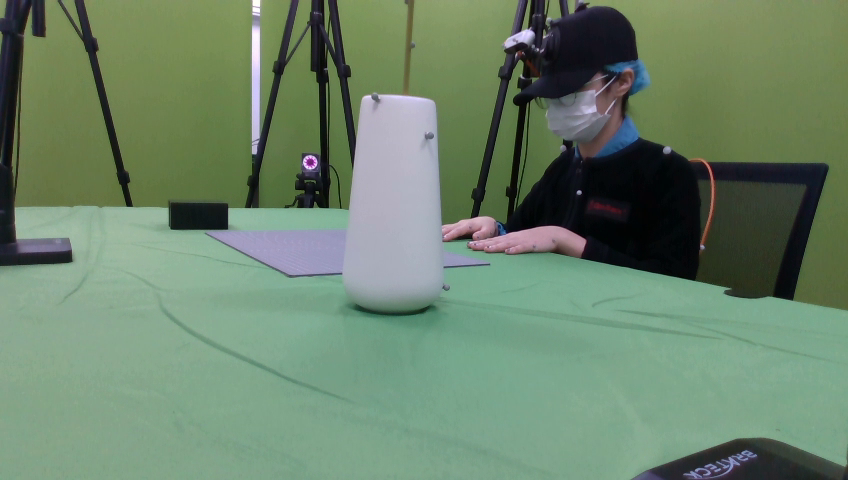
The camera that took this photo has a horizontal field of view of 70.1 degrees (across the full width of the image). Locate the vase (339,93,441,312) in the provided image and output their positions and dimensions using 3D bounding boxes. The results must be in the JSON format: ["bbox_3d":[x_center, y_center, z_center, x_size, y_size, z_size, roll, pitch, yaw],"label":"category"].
[{"bbox_3d":[-0.032,-0.036,0.577,0.098,0.200,0.098,1,7,0],"label":"vase"}]

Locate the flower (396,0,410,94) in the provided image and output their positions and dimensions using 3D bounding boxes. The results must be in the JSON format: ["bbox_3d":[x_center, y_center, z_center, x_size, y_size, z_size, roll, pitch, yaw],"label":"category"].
[{"bbox_3d":[-0.023,-0.113,0.546,0.044,0.361,0.038,7,25,1],"label":"flower"}]
